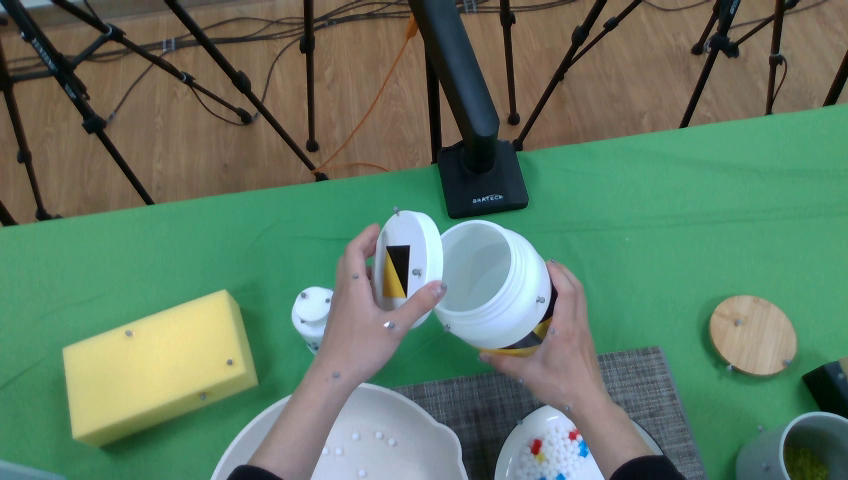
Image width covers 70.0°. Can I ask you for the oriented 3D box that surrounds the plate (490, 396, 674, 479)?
[{"bbox_3d":[0.178,0.285,0.693,0.209,0.038,0.207,-1,63,2],"label":"plate"}]

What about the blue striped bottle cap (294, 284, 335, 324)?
[{"bbox_3d":[-0.127,0.074,0.705,0.044,0.021,0.044,-1,61,3],"label":"blue striped bottle cap"}]

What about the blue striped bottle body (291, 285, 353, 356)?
[{"bbox_3d":[-0.126,0.097,0.751,0.063,0.122,0.062,0,63,1],"label":"blue striped bottle body"}]

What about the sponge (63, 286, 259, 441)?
[{"bbox_3d":[-0.327,0.153,0.759,0.207,0.061,0.117,-20,64,-10],"label":"sponge"}]

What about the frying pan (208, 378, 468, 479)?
[{"bbox_3d":[-0.039,0.373,0.615,0.307,0.104,0.482,-30,58,-12],"label":"frying pan"}]

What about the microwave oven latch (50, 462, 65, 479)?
[{"bbox_3d":[-0.426,0.294,0.681,0.030,0.030,0.078,-8,64,-3],"label":"microwave oven latch"}]

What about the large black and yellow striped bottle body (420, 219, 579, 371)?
[{"bbox_3d":[0.087,0.064,0.687,0.130,0.186,0.129,-15,58,26],"label":"large black and yellow striped bottle body"}]

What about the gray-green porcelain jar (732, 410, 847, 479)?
[{"bbox_3d":[0.409,0.251,0.661,0.106,0.127,0.105,0,63,1],"label":"gray-green porcelain jar"}]

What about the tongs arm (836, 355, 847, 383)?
[{"bbox_3d":[0.551,0.306,0.649,0.051,0.026,0.382,-12,74,-7],"label":"tongs arm"}]

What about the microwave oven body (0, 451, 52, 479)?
[{"bbox_3d":[-0.551,0.424,0.509,0.326,0.262,0.437,-8,64,-3],"label":"microwave oven body"}]

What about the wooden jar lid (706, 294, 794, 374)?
[{"bbox_3d":[0.420,0.122,0.786,0.108,0.021,0.107,0,65,1],"label":"wooden jar lid"}]

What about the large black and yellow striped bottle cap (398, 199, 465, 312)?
[{"bbox_3d":[0.007,0.015,0.585,0.019,0.116,0.114,-25,64,7],"label":"large black and yellow striped bottle cap"}]
